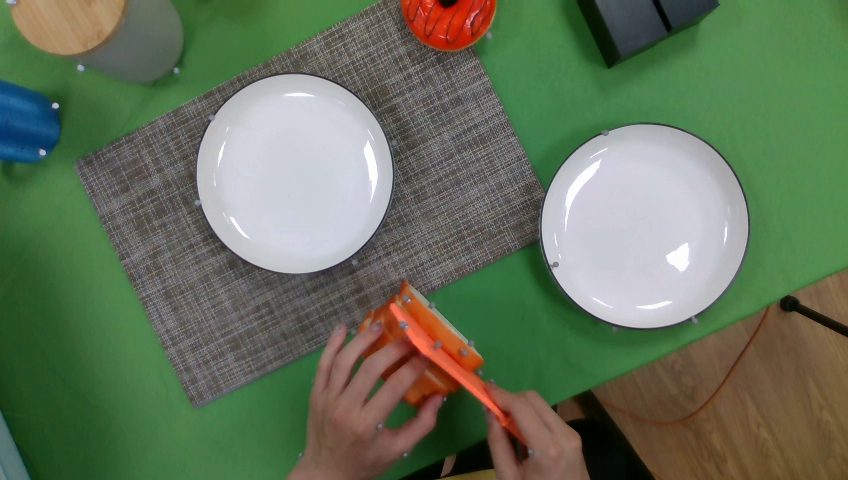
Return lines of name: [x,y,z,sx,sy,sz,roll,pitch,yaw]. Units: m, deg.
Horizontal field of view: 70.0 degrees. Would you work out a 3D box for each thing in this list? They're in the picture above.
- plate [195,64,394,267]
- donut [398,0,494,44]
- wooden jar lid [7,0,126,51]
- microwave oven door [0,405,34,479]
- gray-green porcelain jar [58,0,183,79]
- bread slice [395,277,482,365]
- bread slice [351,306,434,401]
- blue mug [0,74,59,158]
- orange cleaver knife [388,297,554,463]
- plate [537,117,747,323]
plate: [-0.133,-0.076,0.638,0.207,0.039,0.207,0,93,3]
donut: [0.022,-0.249,0.618,0.099,0.048,0.099,0,93,3]
wooden jar lid: [-0.314,-0.221,0.539,0.108,0.021,0.108,0,91,5]
microwave oven door: [-0.482,0.208,0.553,0.039,0.244,0.355,-23,91,4]
gray-green porcelain jar: [-0.310,-0.222,0.601,0.106,0.126,0.106,0,92,3]
bread slice: [0.014,0.081,0.594,0.107,0.134,0.018,42,88,-5]
bread slice: [-0.032,0.112,0.598,0.105,0.131,0.019,45,89,-1]
blue mug: [-0.459,-0.119,0.623,0.082,0.106,0.116,38,94,2]
orange cleaver knife: [0.043,0.125,0.539,0.012,0.076,0.213,-43,113,4]
plate: [0.219,-0.020,0.624,0.209,0.038,0.209,0,93,4]
